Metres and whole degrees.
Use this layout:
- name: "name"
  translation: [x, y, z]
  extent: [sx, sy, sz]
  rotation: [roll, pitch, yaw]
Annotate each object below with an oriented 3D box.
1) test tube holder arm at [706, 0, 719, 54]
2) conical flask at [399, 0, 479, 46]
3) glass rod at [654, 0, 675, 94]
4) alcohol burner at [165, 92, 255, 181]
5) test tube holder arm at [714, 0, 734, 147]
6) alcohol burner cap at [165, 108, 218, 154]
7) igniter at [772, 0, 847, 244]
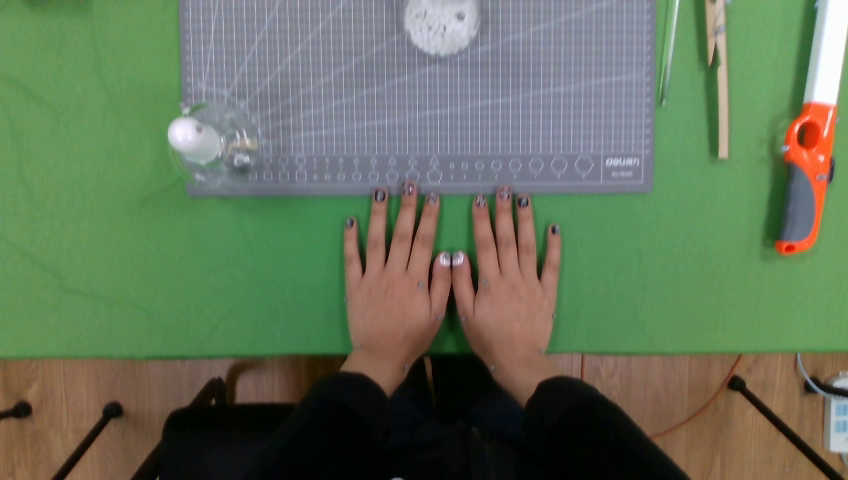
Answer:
- name: "test tube holder arm"
  translation: [0.275, -0.223, 0.577]
  extent: [0.010, 0.015, 0.088]
  rotation: [-3, 98, 34]
- name: "conical flask"
  translation: [0.016, -0.214, 0.511]
  extent: [0.075, 0.121, 0.075]
  rotation: [0, 95, -2]
- name: "glass rod"
  translation: [0.237, -0.240, 0.577]
  extent: [0.008, 0.008, 0.200]
  rotation: [6, 97, -3]
- name: "alcohol burner"
  translation: [-0.188, -0.090, 0.517]
  extent: [0.078, 0.119, 0.078]
  rotation: [0, 94, -1]
- name: "test tube holder arm"
  translation: [0.285, -0.178, 0.579]
  extent: [0.013, 0.015, 0.178]
  rotation: [-4, 97, 34]
- name: "alcohol burner cap"
  translation: [-0.187, -0.089, 0.482]
  extent: [0.034, 0.048, 0.034]
  rotation: [0, 86, -2]
- name: "igniter"
  translation: [0.378, -0.131, 0.585]
  extent: [0.057, 0.025, 0.276]
  rotation: [6, 95, -13]
